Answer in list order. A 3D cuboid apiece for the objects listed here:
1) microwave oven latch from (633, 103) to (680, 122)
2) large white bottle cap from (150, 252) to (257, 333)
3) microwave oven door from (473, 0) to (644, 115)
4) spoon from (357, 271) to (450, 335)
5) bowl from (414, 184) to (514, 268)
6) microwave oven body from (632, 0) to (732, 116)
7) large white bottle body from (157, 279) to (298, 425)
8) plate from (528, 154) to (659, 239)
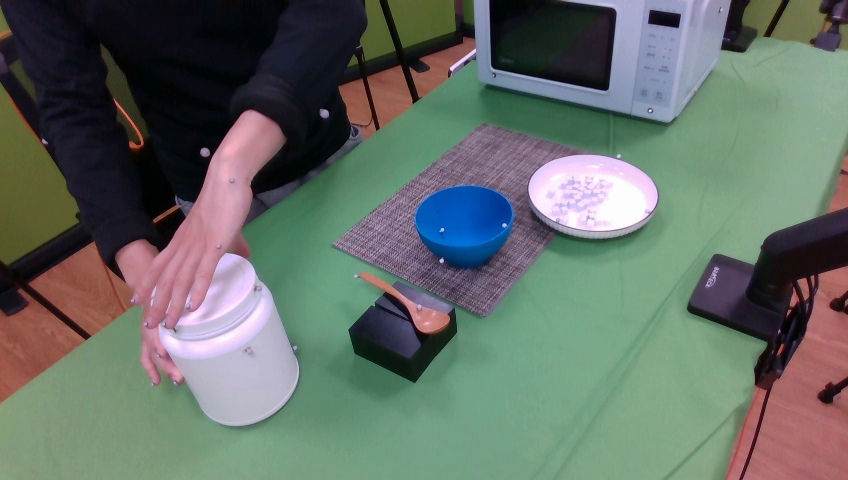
[{"bbox_3d":[0.444,-0.249,1.157,0.078,0.029,0.030,21,49,30],"label":"microwave oven latch"},{"bbox_3d":[-0.246,0.056,0.679,0.115,0.018,0.114,-4,41,4],"label":"large white bottle cap"},{"bbox_3d":[0.257,-0.396,1.199,0.353,0.245,0.039,21,48,29],"label":"microwave oven door"},{"bbox_3d":[-0.034,0.078,0.812,0.042,0.022,0.192,-37,43,-22],"label":"spoon"},{"bbox_3d":[0.063,-0.010,0.923,0.151,0.077,0.150,-4,40,4],"label":"bowl"},{"bbox_3d":[0.377,-0.462,1.267,0.438,0.261,0.327,21,48,30],"label":"microwave oven body"},{"bbox_3d":[-0.237,0.121,0.734,0.130,0.185,0.130,-4,40,4],"label":"large white bottle body"},{"bbox_3d":[0.274,-0.069,0.993,0.209,0.038,0.208,-2,42,2],"label":"plate"}]
